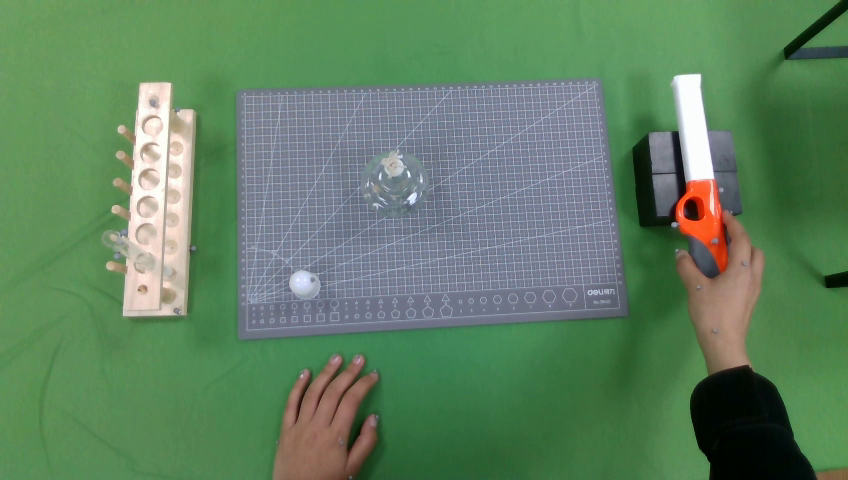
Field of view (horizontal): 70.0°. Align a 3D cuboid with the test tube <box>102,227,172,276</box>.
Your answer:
[{"bbox_3d":[-0.282,0.014,0.605,0.017,0.151,0.017,1,75,-4],"label":"test tube"}]

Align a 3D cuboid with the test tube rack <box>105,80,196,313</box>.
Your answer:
[{"bbox_3d":[-0.302,-0.044,0.664,0.067,0.085,0.241,-1,80,-3],"label":"test tube rack"}]

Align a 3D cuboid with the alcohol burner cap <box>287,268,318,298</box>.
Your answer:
[{"bbox_3d":[-0.137,0.046,0.676,0.034,0.048,0.033,1,79,-4],"label":"alcohol burner cap"}]

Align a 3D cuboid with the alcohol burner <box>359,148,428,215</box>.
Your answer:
[{"bbox_3d":[-0.034,-0.069,0.666,0.078,0.119,0.077,0,80,-2],"label":"alcohol burner"}]

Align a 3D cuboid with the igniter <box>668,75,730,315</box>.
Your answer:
[{"bbox_3d":[0.307,-0.055,0.682,0.057,0.025,0.275,-3,79,3],"label":"igniter"}]
